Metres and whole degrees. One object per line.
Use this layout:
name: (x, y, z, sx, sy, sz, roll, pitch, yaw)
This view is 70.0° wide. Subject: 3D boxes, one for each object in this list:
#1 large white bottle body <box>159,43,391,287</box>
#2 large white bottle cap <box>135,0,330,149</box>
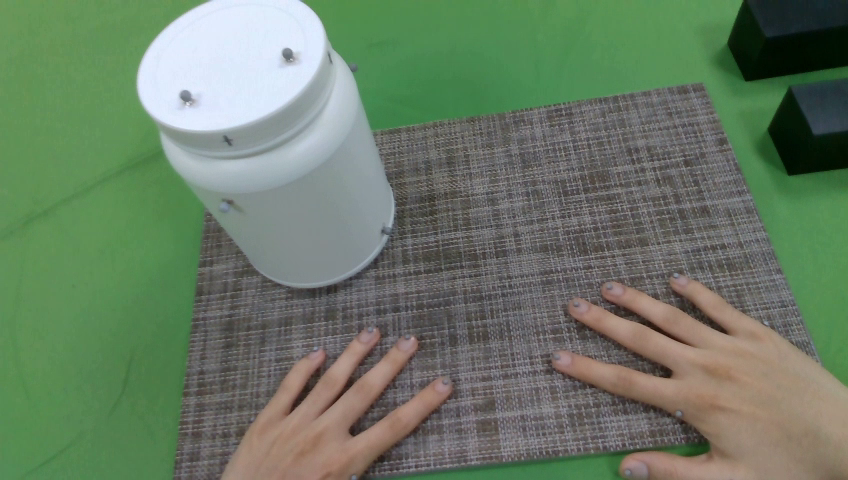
large white bottle body: (-0.102, -0.061, 0.433, 0.130, 0.186, 0.129, -4, 59, 7)
large white bottle cap: (-0.114, -0.103, 0.361, 0.115, 0.018, 0.114, -4, 59, 6)
